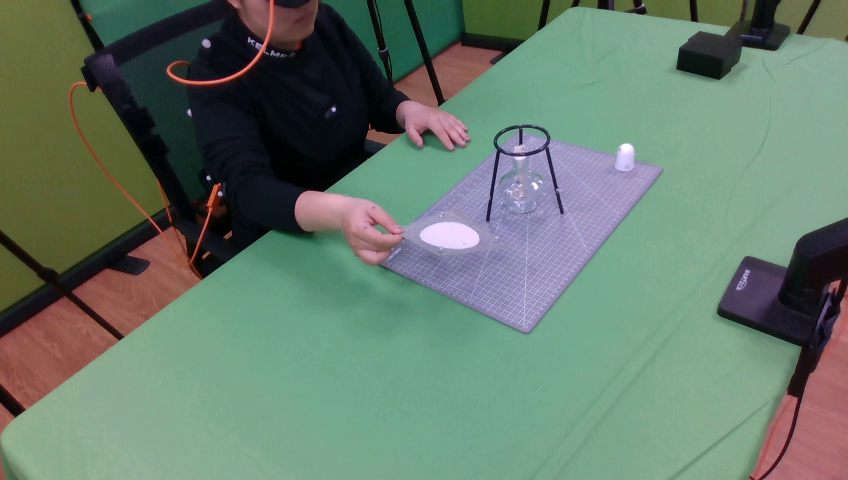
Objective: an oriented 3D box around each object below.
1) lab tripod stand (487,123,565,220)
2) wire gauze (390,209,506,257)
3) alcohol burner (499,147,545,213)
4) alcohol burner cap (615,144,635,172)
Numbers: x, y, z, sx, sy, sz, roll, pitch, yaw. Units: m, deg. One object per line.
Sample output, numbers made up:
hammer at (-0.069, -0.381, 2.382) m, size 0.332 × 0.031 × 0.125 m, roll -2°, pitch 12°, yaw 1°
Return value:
lab tripod stand at (0.162, -0.110, 0.992) m, size 0.148 × 0.132 × 0.147 m, roll -5°, pitch 42°, yaw 5°
wire gauze at (0.034, -0.010, 0.872) m, size 0.126 × 0.011 × 0.120 m, roll -13°, pitch 32°, yaw -31°
alcohol burner at (0.161, -0.104, 1.001) m, size 0.078 × 0.120 × 0.077 m, roll -6°, pitch 42°, yaw 6°
alcohol burner cap at (0.357, -0.147, 1.069) m, size 0.034 × 0.048 × 0.033 m, roll -6°, pitch 40°, yaw 6°
